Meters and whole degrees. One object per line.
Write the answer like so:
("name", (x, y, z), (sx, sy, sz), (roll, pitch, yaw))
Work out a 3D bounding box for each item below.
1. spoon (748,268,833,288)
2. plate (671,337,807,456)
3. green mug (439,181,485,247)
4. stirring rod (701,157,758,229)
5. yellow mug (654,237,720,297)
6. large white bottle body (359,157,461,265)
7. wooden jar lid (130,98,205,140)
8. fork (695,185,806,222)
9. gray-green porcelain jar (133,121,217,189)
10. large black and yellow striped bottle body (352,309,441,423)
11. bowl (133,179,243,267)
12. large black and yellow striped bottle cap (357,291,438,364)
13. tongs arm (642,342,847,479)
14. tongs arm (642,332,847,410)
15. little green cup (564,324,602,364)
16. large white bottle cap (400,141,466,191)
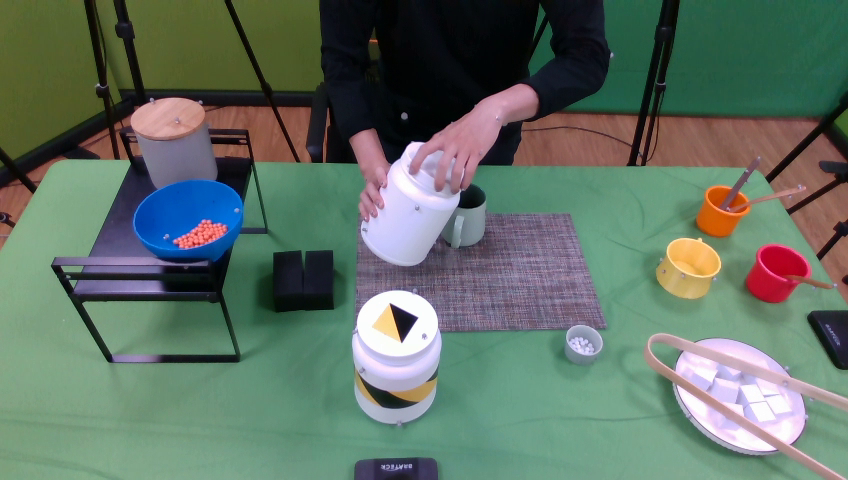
("spoon", (0.660, 0.068, 1.097), (0.041, 0.193, 0.021), (-4, 91, -6))
("plate", (0.504, 0.254, 0.984), (0.208, 0.039, 0.206), (2, 46, -2))
("green mug", (0.071, -0.039, 1.178), (0.092, 0.105, 0.124), (12, 47, 7))
("stirring rod", (0.634, -0.097, 1.257), (0.014, 0.006, 0.176), (38, 97, 29))
("yellow mug", (0.509, 0.041, 1.167), (0.099, 0.064, 0.130), (24, 48, 18))
("large white bottle body", (-0.020, -0.062, 1.043), (0.131, 0.185, 0.130), (21, 34, -15))
("wooden jar lid", (-0.393, -0.183, 0.934), (0.108, 0.021, 0.107), (3, 44, -2))
("fork", (0.658, -0.074, 1.230), (0.207, 0.019, 0.028), (-23, 36, 37))
("gray-green porcelain jar", (-0.397, -0.141, 0.979), (0.106, 0.127, 0.105), (2, 47, -2))
("large black and yellow striped bottle body", (-0.042, 0.178, 0.913), (0.131, 0.185, 0.130), (2, 46, -2))
("bowl", (-0.339, -0.013, 0.895), (0.151, 0.077, 0.150), (2, 46, -2))
("large black and yellow striped bottle cap", (-0.037, 0.121, 0.851), (0.115, 0.019, 0.114), (1, 46, -1))
("tongs arm", (0.504, 0.279, 0.918), (0.386, 0.028, 0.028), (33, 59, 22))
("tongs arm", (0.546, 0.227, 0.968), (0.384, 0.026, 0.050), (22, 52, 13))
("little green cup", (0.269, 0.180, 1.035), (0.061, 0.039, 0.061), (2, 45, -2))
("large white bottle cap", (0.016, -0.123, 0.996), (0.115, 0.018, 0.114), (21, 34, -15))
